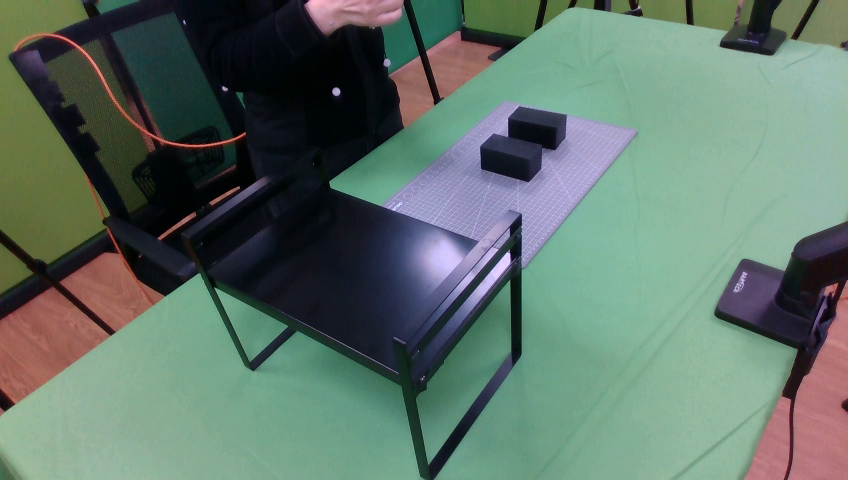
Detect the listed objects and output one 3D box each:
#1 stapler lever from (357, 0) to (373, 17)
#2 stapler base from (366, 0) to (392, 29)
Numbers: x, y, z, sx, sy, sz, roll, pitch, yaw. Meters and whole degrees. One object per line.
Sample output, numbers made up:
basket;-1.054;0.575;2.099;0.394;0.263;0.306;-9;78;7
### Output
stapler lever;-0.067;-0.380;0.884;0.040;0.117;0.027;48;44;-4
stapler base;-0.056;-0.372;0.884;0.024;0.130;0.041;40;44;5
